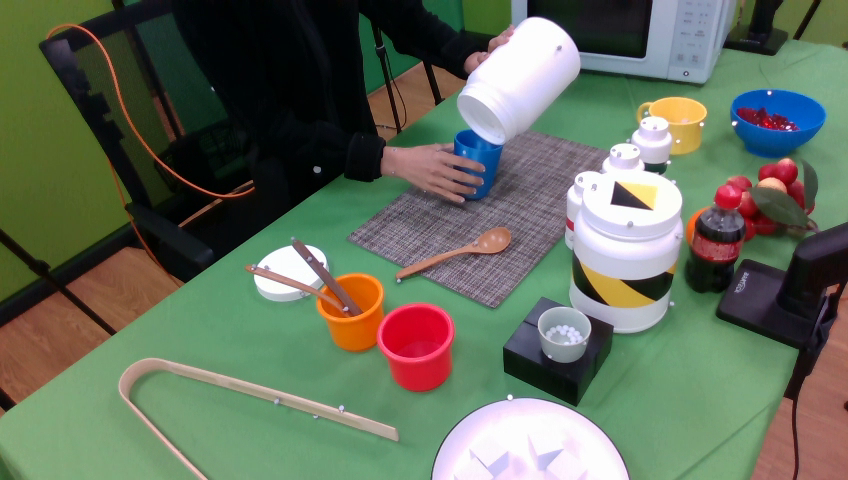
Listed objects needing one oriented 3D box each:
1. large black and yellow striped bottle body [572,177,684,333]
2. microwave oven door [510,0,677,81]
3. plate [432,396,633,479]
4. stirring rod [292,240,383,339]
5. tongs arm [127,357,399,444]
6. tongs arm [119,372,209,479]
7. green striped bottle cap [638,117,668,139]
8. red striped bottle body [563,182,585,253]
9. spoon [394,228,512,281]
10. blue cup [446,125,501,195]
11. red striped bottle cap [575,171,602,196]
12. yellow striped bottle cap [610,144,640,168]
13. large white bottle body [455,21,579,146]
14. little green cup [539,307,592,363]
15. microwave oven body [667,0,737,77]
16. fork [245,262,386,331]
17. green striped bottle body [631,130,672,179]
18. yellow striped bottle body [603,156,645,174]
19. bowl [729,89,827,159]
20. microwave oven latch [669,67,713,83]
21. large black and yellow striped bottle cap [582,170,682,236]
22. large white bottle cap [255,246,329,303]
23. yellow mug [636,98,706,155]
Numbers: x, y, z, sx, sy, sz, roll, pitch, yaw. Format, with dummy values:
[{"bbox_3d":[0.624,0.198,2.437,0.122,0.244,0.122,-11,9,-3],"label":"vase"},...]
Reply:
[{"bbox_3d":[0.262,0.017,0.788,0.131,0.185,0.130,-5,40,4],"label":"large black and yellow striped bottle body"},{"bbox_3d":[0.354,-0.478,1.291,0.353,0.245,0.039,15,45,25],"label":"microwave oven door"},{"bbox_3d":[0.112,0.261,0.634,0.209,0.038,0.208,-5,40,4],"label":"plate"},{"bbox_3d":[-0.118,0.068,0.825,0.176,0.006,0.014,48,59,-3],"label":"stirring rod"},{"bbox_3d":[-0.213,0.205,0.755,0.382,0.026,0.051,12,45,23],"label":"tongs arm"},{"bbox_3d":[-0.258,0.257,0.700,0.384,0.028,0.028,24,55,34],"label":"tongs arm"},{"bbox_3d":[0.369,-0.180,0.974,0.044,0.020,0.044,-4,41,4],"label":"green striped bottle cap"},{"bbox_3d":[0.247,-0.041,0.910,0.063,0.120,0.062,-1,38,1],"label":"red striped bottle body"},{"bbox_3d":[0.045,0.024,0.935,0.194,0.022,0.041,-18,66,-11],"label":"spoon"},{"bbox_3d":[0.084,-0.135,1.042,0.093,0.100,0.092,3,38,-2],"label":"blue cup"},{"bbox_3d":[0.242,-0.081,0.876,0.044,0.018,0.044,-5,44,5],"label":"red striped bottle cap"},{"bbox_3d":[0.307,-0.128,0.923,0.044,0.019,0.044,-5,39,5],"label":"yellow striped bottle cap"},{"bbox_3d":[0.151,-0.256,1.000,0.185,0.131,0.129,-45,50,-14],"label":"large white bottle body"},{"bbox_3d":[0.168,0.115,0.721,0.061,0.039,0.061,-4,42,4],"label":"little green cup"},{"bbox_3d":[0.462,-0.552,1.368,0.439,0.261,0.326,14,45,26],"label":"microwave oven body"},{"bbox_3d":[-0.141,0.076,0.807,0.209,0.018,0.028,29,51,-24],"label":"fork"},{"bbox_3d":[0.375,-0.140,1.007,0.063,0.120,0.063,-5,41,5],"label":"green striped bottle body"},{"bbox_3d":[0.313,-0.089,0.956,0.063,0.121,0.062,-4,39,4],"label":"yellow striped bottle body"},{"bbox_3d":[0.615,-0.197,1.069,0.151,0.077,0.150,-5,40,5],"label":"bowl"},{"bbox_3d":[0.556,-0.349,1.261,0.078,0.029,0.030,16,46,27],"label":"microwave oven latch"},{"bbox_3d":[0.252,-0.048,0.735,0.115,0.019,0.114,-3,40,3],"label":"large black and yellow striped bottle cap"},{"bbox_3d":[-0.208,0.052,0.952,0.115,0.018,0.114,-4,41,4],"label":"large white bottle cap"},{"bbox_3d":[0.453,-0.217,1.128,0.100,0.064,0.129,-34,46,-27],"label":"yellow mug"}]
